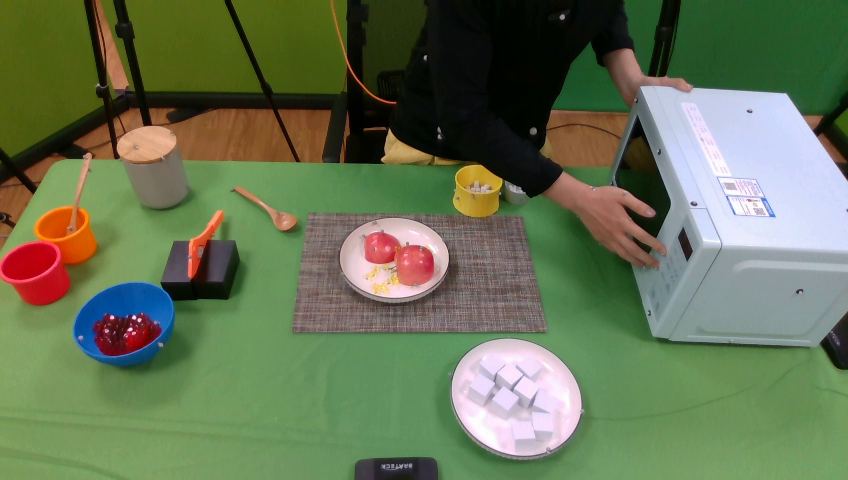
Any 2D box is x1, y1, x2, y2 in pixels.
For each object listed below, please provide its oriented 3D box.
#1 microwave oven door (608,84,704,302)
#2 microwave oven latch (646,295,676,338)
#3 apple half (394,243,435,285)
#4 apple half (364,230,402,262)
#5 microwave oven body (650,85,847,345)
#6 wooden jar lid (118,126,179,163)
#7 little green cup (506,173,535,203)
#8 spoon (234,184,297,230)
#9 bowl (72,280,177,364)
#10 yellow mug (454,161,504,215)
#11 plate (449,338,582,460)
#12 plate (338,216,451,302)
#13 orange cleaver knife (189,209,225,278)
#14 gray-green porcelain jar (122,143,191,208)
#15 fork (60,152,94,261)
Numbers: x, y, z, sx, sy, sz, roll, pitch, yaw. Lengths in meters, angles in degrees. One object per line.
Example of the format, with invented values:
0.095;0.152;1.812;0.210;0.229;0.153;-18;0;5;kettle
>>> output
0.424;-0.096;1.138;0.039;0.245;0.353;2;47;-1;microwave oven door
0.413;0.133;1.060;0.030;0.029;0.078;4;46;1;microwave oven latch
-0.017;0.036;1.120;0.075;0.053;0.080;1;46;-6;apple half
-0.079;0.004;1.159;0.081;0.033;0.081;3;50;-3;apple half
0.569;-0.054;1.116;0.326;0.261;0.439;2;46;-1;microwave oven body
-0.528;-0.181;1.167;0.108;0.021;0.107;3;47;-4;wooden jar lid
0.205;-0.111;1.301;0.061;0.039;0.061;3;46;-3;little green cup
-0.327;-0.073;1.240;0.193;0.022;0.041;34;71;25;spoon
-0.473;0.146;0.982;0.151;0.077;0.150;2;46;-2;bowl
0.117;-0.119;1.283;0.100;0.064;0.130;8;43;5;yellow mug
0.141;0.251;0.955;0.208;0.039;0.206;2;47;-2;plate
-0.054;0.038;1.138;0.209;0.038;0.208;2;46;-2;plate
-0.401;0.002;1.122;0.012;0.077;0.210;4;23;-4;orange cleaver knife
-0.531;-0.137;1.214;0.106;0.127;0.105;2;47;-2;gray-green porcelain jar
-0.638;-0.063;1.120;0.028;0.018;0.207;12;90;6;fork
